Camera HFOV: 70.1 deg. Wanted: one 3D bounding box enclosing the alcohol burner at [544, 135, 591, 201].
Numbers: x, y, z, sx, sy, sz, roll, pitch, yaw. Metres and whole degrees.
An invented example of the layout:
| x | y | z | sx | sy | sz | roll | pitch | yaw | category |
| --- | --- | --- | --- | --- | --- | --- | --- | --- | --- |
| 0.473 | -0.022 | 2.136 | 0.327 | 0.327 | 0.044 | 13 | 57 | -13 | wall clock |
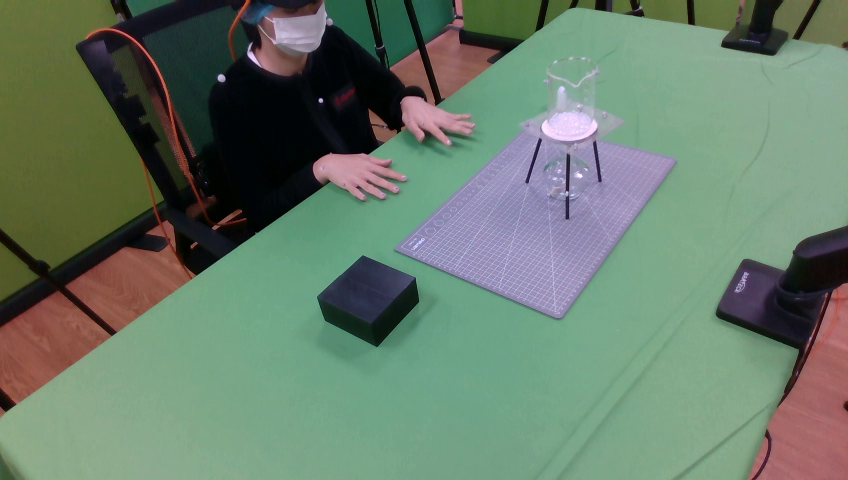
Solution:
| x | y | z | sx | sy | sz | roll | pitch | yaw | category |
| --- | --- | --- | --- | --- | --- | --- | --- | --- | --- |
| 0.240 | -0.125 | 1.012 | 0.078 | 0.119 | 0.077 | -5 | 42 | 5 | alcohol burner |

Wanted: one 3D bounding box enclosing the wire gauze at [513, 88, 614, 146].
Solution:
| x | y | z | sx | sy | sz | roll | pitch | yaw | category |
| --- | --- | --- | --- | --- | --- | --- | --- | --- | --- |
| 0.220 | -0.193 | 0.952 | 0.120 | 0.011 | 0.125 | 22 | 53 | 27 | wire gauze |

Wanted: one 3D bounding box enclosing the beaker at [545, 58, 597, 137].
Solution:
| x | y | z | sx | sy | sz | roll | pitch | yaw | category |
| --- | --- | --- | --- | --- | --- | --- | --- | --- | --- |
| 0.225 | -0.215 | 0.927 | 0.074 | 0.101 | 0.083 | -6 | 40 | 5 | beaker |

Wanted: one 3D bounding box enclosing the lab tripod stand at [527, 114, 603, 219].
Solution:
| x | y | z | sx | sy | sz | roll | pitch | yaw | category |
| --- | --- | --- | --- | --- | --- | --- | --- | --- | --- |
| 0.234 | -0.129 | 1.002 | 0.148 | 0.132 | 0.147 | -6 | 40 | 6 | lab tripod stand |

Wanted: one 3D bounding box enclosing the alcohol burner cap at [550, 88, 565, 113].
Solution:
| x | y | z | sx | sy | sz | roll | pitch | yaw | category |
| --- | --- | --- | --- | --- | --- | --- | --- | --- | --- |
| 0.281 | -0.296 | 1.271 | 0.034 | 0.048 | 0.033 | -5 | 41 | 5 | alcohol burner cap |
